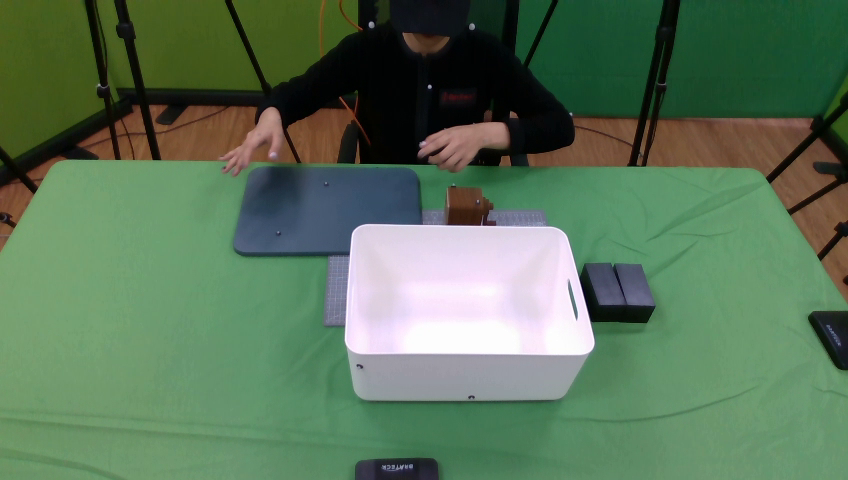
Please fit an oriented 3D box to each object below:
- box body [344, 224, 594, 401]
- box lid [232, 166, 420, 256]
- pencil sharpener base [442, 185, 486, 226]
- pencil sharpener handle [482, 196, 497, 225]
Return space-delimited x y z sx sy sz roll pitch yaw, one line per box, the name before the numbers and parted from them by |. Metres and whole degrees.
box body | 0.060 0.120 0.988 0.364 0.161 0.252 1 47 -4
box lid | -0.191 -0.066 1.255 0.372 0.015 0.261 -1 46 -4
pencil sharpener base | 0.078 -0.049 1.188 0.077 0.107 0.061 1 46 -3
pencil sharpener handle | 0.130 -0.055 1.182 0.031 0.068 0.036 1 43 -3
